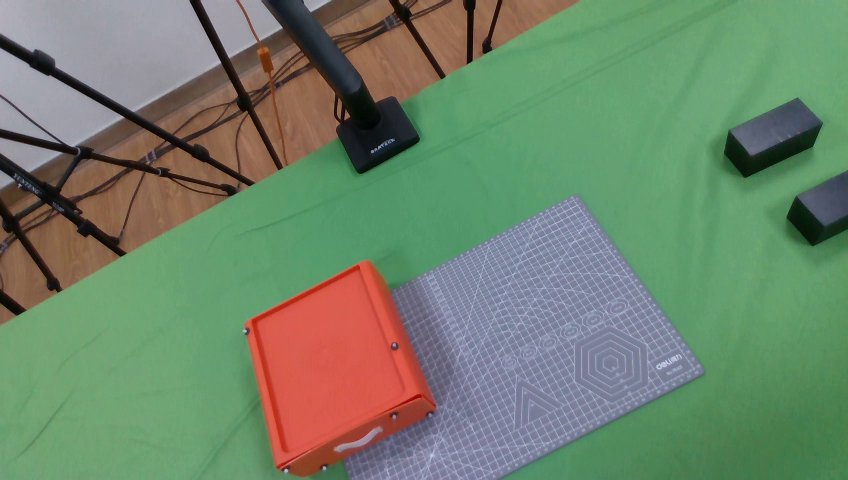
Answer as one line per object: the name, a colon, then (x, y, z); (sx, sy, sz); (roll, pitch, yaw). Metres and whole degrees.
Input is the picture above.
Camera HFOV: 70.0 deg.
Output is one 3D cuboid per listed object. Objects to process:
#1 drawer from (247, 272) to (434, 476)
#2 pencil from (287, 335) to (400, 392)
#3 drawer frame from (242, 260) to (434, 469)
drawer: (-0.117, 0.172, 0.805); (0.194, 0.074, 0.209); (-28, 56, 3)
pencil: (-0.113, 0.169, 0.830); (0.192, 0.012, 0.012); (19, 70, 26)
drawer frame: (-0.120, 0.168, 0.807); (0.201, 0.083, 0.211); (-29, 57, 3)
